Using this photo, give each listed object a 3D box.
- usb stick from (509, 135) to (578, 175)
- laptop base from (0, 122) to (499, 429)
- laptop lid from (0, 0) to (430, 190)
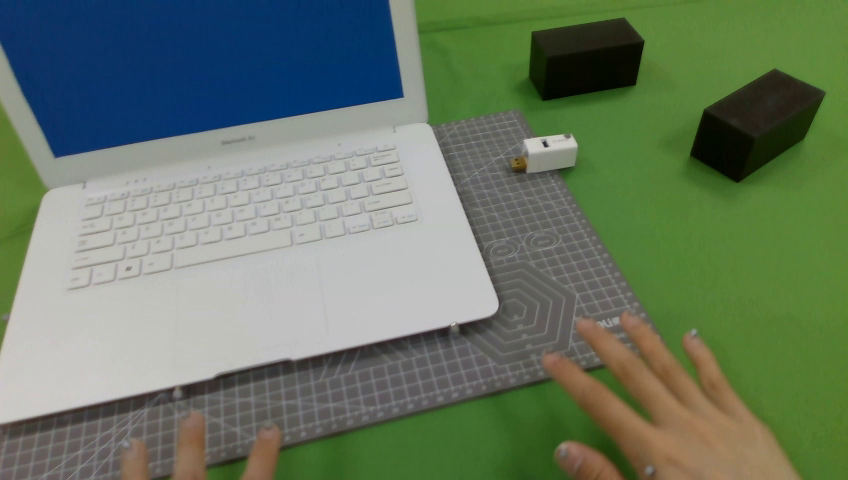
[{"bbox_3d":[0.106,-0.075,0.541,0.059,0.027,0.021,-10,46,-2],"label":"usb stick"},{"bbox_3d":[-0.140,0.009,0.490,0.355,0.023,0.233,-12,51,-6],"label":"laptop base"},{"bbox_3d":[-0.178,-0.172,0.505,0.357,0.244,0.013,-13,33,-6],"label":"laptop lid"}]
